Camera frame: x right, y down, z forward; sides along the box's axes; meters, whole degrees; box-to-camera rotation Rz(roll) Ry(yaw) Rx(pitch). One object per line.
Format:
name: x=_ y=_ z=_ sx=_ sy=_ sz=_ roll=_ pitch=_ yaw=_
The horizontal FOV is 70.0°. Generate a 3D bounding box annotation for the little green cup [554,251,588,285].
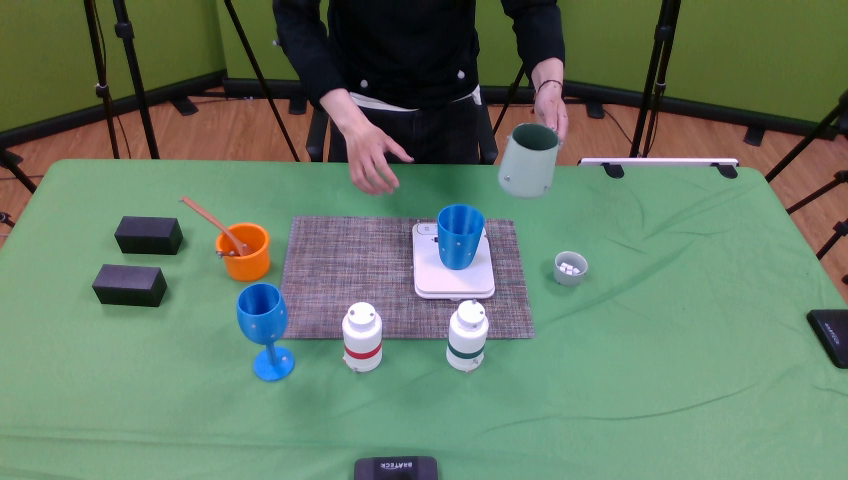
little green cup: x=0.276 y=0.055 z=1.151 sx=0.061 sy=0.039 sz=0.061 roll=1 pitch=46 yaw=-1

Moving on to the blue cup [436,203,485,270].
blue cup: x=0.062 y=-0.001 z=1.099 sx=0.093 sy=0.101 sz=0.092 roll=2 pitch=44 yaw=-2

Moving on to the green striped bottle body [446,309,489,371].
green striped bottle body: x=0.070 y=0.155 z=0.984 sx=0.063 sy=0.120 sz=0.063 roll=2 pitch=46 yaw=-2

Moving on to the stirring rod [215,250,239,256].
stirring rod: x=-0.339 y=0.024 z=1.059 sx=0.014 sy=0.176 sz=0.006 roll=17 pitch=86 yaw=-6

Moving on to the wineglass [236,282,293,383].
wineglass: x=-0.243 y=0.143 z=0.934 sx=0.074 sy=0.173 sz=0.073 roll=2 pitch=46 yaw=-2

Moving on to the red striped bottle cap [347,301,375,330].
red striped bottle cap: x=-0.097 y=0.116 z=0.934 sx=0.044 sy=0.018 sz=0.044 roll=3 pitch=49 yaw=-3

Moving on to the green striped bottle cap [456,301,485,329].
green striped bottle cap: x=0.073 y=0.116 z=0.943 sx=0.044 sy=0.020 sz=0.044 roll=2 pitch=46 yaw=-2

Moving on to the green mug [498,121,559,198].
green mug: x=0.184 y=-0.142 z=1.020 sx=0.092 sy=0.105 sz=0.125 roll=28 pitch=49 yaw=20

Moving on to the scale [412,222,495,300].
scale: x=0.052 y=0.031 z=1.158 sx=0.149 sy=0.032 sz=0.199 roll=1 pitch=46 yaw=-4

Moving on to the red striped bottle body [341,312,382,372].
red striped bottle body: x=-0.100 y=0.154 z=0.972 sx=0.063 sy=0.120 sz=0.062 roll=2 pitch=46 yaw=-1

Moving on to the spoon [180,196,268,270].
spoon: x=-0.359 y=-0.014 z=1.094 sx=0.021 sy=0.194 sz=0.041 roll=-27 pitch=27 yaw=32
